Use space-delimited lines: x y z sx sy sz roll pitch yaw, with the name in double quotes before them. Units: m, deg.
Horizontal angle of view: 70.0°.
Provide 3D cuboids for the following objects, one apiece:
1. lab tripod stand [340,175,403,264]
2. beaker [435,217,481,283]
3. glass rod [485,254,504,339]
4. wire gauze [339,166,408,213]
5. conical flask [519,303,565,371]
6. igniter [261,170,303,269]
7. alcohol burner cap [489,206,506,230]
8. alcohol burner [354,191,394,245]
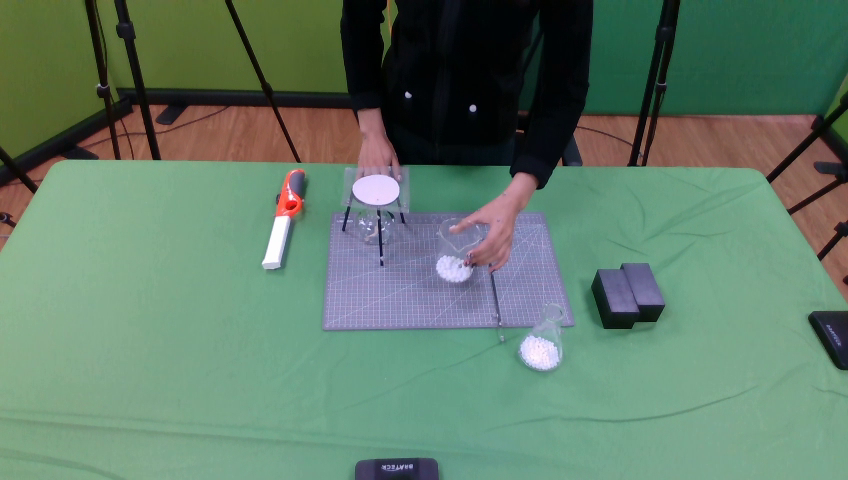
"lab tripod stand" -0.094 -0.050 1.160 0.148 0.132 0.147 2 44 -2
"beaker" 0.057 0.022 1.071 0.074 0.101 0.083 7 43 0
"glass rod" 0.129 0.100 1.119 0.008 0.008 0.198 -1 46 -5
"wire gauze" -0.091 -0.096 1.110 0.125 0.011 0.120 2 45 -3
"conical flask" 0.201 0.155 0.997 0.075 0.122 0.075 2 46 -2
"igniter" -0.284 -0.050 1.222 0.057 0.025 0.275 -4 45 6
"alcohol burner cap" 0.152 -0.047 1.241 0.034 0.048 0.033 2 45 -1
"alcohol burner" -0.096 -0.048 1.171 0.078 0.119 0.077 4 45 -4
